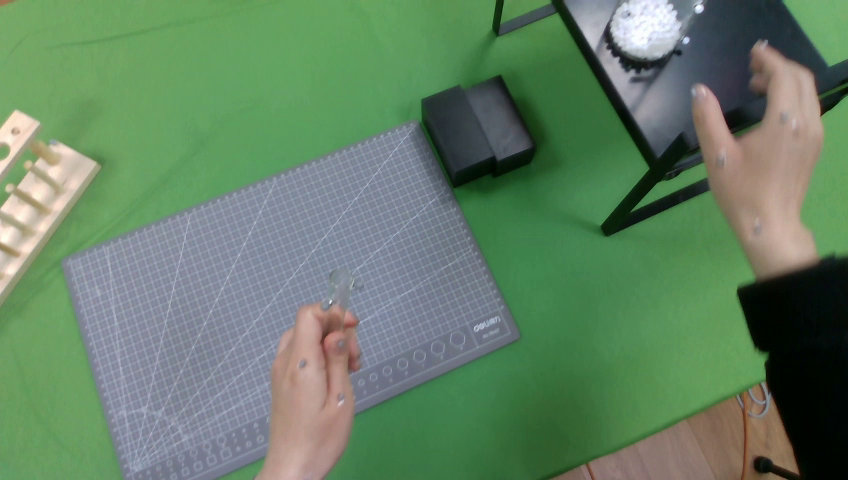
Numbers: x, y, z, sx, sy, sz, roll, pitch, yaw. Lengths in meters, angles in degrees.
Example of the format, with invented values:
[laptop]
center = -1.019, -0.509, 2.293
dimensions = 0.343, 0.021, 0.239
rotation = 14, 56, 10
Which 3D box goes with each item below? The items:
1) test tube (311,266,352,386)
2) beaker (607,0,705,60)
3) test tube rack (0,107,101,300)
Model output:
[test tube]
center = -0.070, 0.068, 0.442
dimensions = 0.017, 0.151, 0.017
rotation = 8, 49, -9
[beaker]
center = 0.207, -0.215, 0.540
dimensions = 0.084, 0.101, 0.073
rotation = -16, 74, -4
[test tube rack]
center = -0.478, -0.019, 0.671
dimensions = 0.066, 0.085, 0.241
rotation = 28, 76, 8
